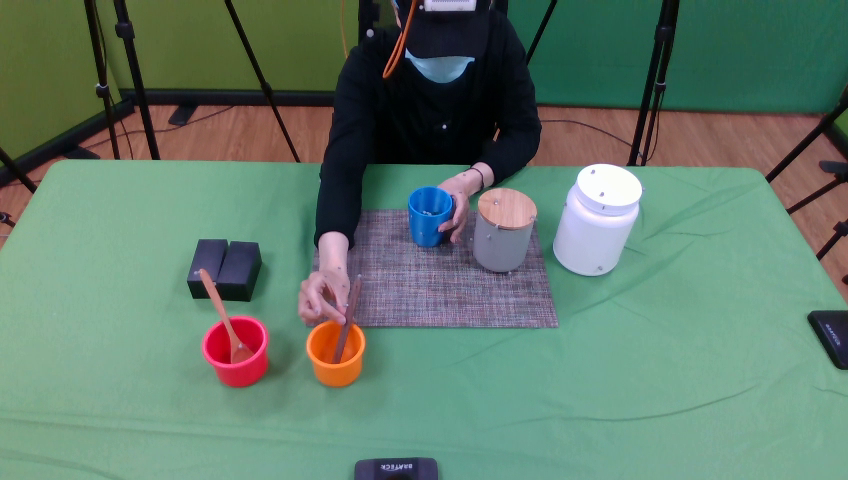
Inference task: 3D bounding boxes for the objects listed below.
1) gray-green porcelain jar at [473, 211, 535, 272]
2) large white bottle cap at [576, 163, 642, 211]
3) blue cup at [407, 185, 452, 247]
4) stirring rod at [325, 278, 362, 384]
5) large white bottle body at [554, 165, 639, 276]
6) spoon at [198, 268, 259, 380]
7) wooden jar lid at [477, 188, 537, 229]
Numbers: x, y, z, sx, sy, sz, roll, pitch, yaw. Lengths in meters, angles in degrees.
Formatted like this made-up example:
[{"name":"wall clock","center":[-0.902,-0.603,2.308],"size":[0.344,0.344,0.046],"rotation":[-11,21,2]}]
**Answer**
[{"name":"gray-green porcelain jar","center":[0.147,-0.010,1.139],"size":[0.106,0.127,0.105],"rotation":[2,46,-2]},{"name":"large white bottle cap","center":[0.330,-0.096,1.080],"size":[0.115,0.018,0.114],"rotation":[2,46,-2]},{"name":"blue cup","center":[0.008,-0.041,1.176],"size":[0.093,0.101,0.092],"rotation":[2,48,-3]},{"name":"stirring rod","center":[-0.129,0.145,0.965],"size":[0.014,0.176,0.006],"rotation":[17,4,11]},{"name":"large white bottle body","center":[0.326,-0.037,1.141],"size":[0.131,0.185,0.130],"rotation":[2,46,-2]},{"name":"spoon","center":[-0.312,0.132,0.962],"size":[0.041,0.021,0.194],"rotation":[-24,96,-20]},{"name":"wooden jar lid","center":[0.149,-0.054,1.094],"size":[0.108,0.021,0.107],"rotation":[4,45,-4]}]
